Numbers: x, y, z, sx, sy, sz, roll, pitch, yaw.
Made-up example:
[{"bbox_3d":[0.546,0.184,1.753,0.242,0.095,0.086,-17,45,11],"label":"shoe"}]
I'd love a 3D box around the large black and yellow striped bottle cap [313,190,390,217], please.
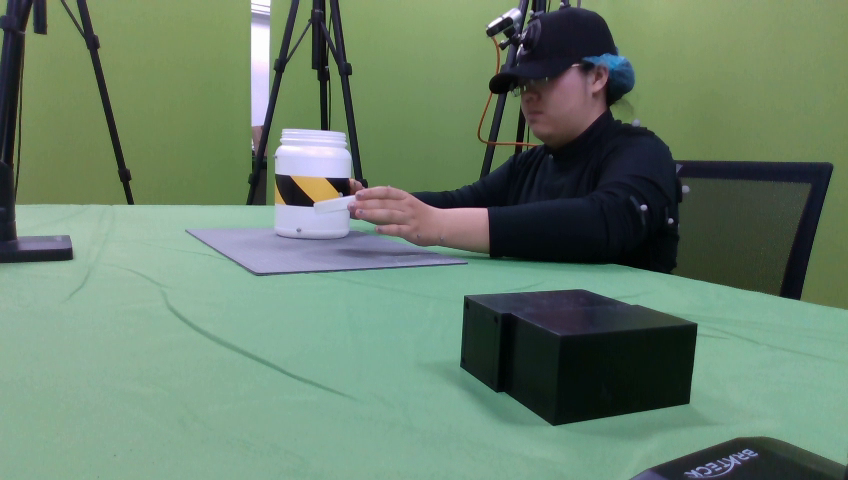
[{"bbox_3d":[-0.107,-0.054,0.900,0.115,0.019,0.115,-11,3,1],"label":"large black and yellow striped bottle cap"}]

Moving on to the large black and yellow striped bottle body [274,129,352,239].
[{"bbox_3d":[-0.194,-0.099,1.058,0.131,0.184,0.130,3,8,0],"label":"large black and yellow striped bottle body"}]
